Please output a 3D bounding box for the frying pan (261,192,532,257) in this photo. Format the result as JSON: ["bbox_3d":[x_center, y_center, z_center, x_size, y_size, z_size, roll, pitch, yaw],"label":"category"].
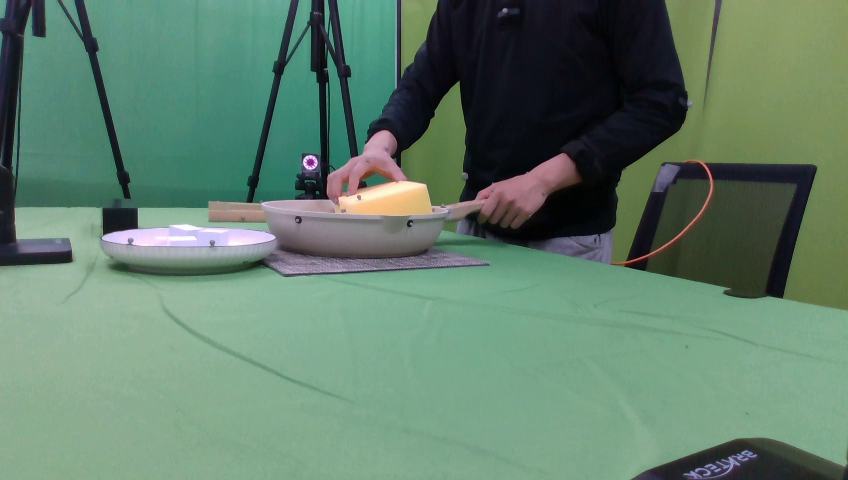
[{"bbox_3d":[-0.017,-0.043,1.006,0.490,0.102,0.305,-11,13,-26],"label":"frying pan"}]

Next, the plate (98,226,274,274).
[{"bbox_3d":[-0.301,0.012,0.778,0.208,0.039,0.207,3,7,0],"label":"plate"}]

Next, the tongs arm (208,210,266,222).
[{"bbox_3d":[-0.280,-0.056,1.355,0.389,0.028,0.028,-2,6,-28],"label":"tongs arm"}]

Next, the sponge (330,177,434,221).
[{"bbox_3d":[-0.074,-0.054,0.967,0.118,0.061,0.206,-16,13,-14],"label":"sponge"}]

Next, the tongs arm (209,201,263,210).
[{"bbox_3d":[-0.306,-0.071,1.430,0.386,0.026,0.050,1,8,-15],"label":"tongs arm"}]
